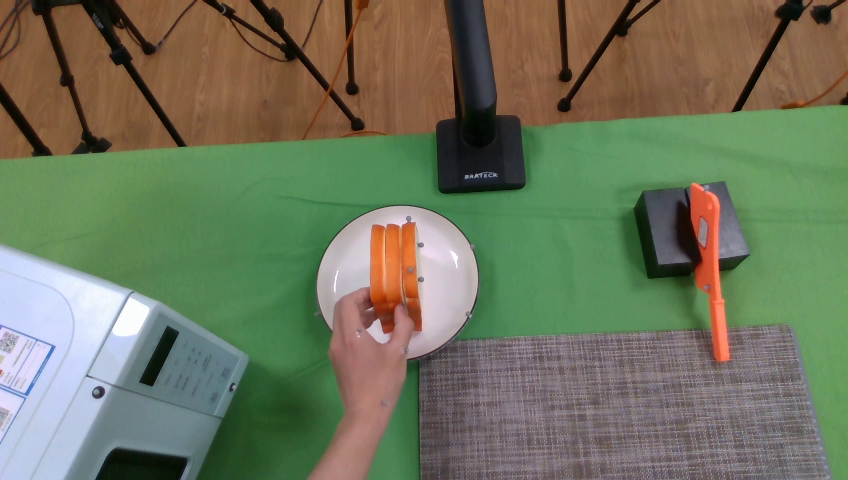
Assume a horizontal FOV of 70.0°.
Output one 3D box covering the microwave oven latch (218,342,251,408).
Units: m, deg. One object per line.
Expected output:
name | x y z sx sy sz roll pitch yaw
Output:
microwave oven latch | -0.236 0.159 0.726 0.030 0.030 0.079 18 72 11

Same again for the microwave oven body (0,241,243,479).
microwave oven body | -0.441 0.241 0.607 0.325 0.262 0.439 16 71 10

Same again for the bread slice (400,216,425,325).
bread slice | -0.013 0.035 0.715 0.018 0.135 0.106 -5 69 1

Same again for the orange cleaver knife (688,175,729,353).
orange cleaver knife | 0.336 0.028 0.721 0.012 0.077 0.212 -9 97 1

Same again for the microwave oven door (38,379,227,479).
microwave oven door | -0.317 0.315 0.562 0.039 0.245 0.354 16 71 12

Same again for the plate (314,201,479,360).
plate | -0.033 0.052 0.771 0.207 0.039 0.206 -1 68 4
